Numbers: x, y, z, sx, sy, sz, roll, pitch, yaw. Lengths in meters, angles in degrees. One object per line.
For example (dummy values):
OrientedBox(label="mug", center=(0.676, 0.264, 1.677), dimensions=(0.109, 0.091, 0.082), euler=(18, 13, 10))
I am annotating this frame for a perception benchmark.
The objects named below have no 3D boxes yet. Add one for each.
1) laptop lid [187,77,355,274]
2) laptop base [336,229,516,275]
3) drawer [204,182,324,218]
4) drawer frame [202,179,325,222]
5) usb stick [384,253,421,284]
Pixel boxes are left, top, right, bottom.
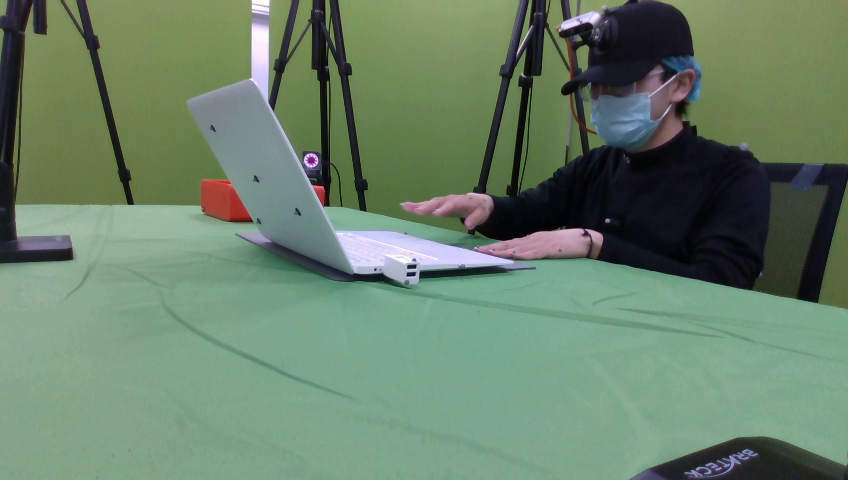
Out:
OrientedBox(label="laptop lid", center=(-0.211, -0.082, 0.772), dimensions=(0.013, 0.242, 0.355), euler=(-34, 25, -23))
OrientedBox(label="laptop base", center=(-0.066, 0.014, 0.877), dimensions=(0.237, 0.023, 0.352), euler=(2, 7, -32))
OrientedBox(label="drawer", center=(-0.360, -0.092, 1.358), dimensions=(0.213, 0.073, 0.193), euler=(-3, 10, -36))
OrientedBox(label="drawer frame", center=(-0.361, -0.092, 1.356), dimensions=(0.215, 0.082, 0.200), euler=(-4, 10, -37))
OrientedBox(label="usb stick", center=(-0.028, 0.030, 0.675), dimensions=(0.021, 0.027, 0.059), euler=(-3, 10, -33))
